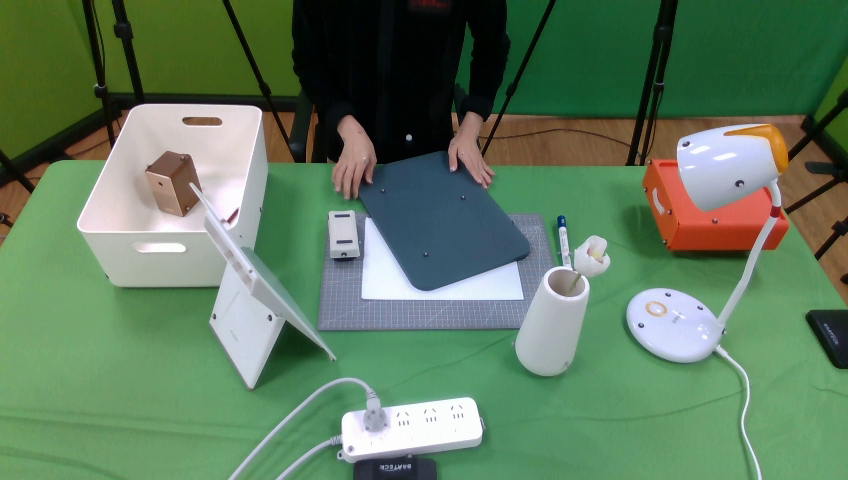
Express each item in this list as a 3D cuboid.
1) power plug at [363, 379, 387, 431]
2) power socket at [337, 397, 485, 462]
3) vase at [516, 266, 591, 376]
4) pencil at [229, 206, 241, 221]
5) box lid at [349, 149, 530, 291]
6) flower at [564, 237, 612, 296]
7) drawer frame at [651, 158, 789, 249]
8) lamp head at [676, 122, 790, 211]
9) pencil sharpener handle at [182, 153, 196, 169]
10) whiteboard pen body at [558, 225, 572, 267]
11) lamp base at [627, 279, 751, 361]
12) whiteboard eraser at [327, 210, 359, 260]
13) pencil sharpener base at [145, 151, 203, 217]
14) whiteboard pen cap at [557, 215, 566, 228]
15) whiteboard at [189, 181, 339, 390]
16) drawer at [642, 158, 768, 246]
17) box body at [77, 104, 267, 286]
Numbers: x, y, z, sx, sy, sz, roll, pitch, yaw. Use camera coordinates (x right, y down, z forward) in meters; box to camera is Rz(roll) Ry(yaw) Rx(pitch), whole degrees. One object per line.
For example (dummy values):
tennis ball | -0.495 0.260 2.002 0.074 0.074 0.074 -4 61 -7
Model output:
power plug | -0.072 0.252 0.910 0.035 0.053 0.072 3 44 -1
power socket | -0.018 0.285 0.915 0.227 0.033 0.071 -5 46 -8
vase | 0.208 0.132 0.964 0.098 0.201 0.097 3 46 -3
pencil | -0.402 -0.008 1.176 0.012 0.012 0.193 14 44 9
box lid | 0.025 -0.056 1.260 0.263 0.015 0.369 -18 50 -20
flower | 0.206 0.088 0.893 0.038 0.363 0.044 -16 67 -9
drawer frame | 0.571 -0.075 1.214 0.214 0.083 0.200 0 46 -1
lamp head | 0.423 -0.104 0.819 0.122 0.113 0.112 -13 33 40
pencil sharpener handle | -0.476 -0.155 1.225 0.036 0.068 0.030 23 48 3
whiteboard pen body | 0.280 0.010 1.207 0.017 0.017 0.140 3 50 -1
lamp base | 0.459 0.100 1.027 0.178 0.181 0.160 27 51 17
whiteboard eraser | -0.158 -0.009 1.177 0.055 0.042 0.112 -6 47 -7
pencil sharpener base | -0.490 -0.112 1.199 0.061 0.107 0.076 15 47 12
whiteboard pen cap | 0.284 -0.034 1.246 0.018 0.018 0.033 4 52 -1
whiteboard | -0.292 0.096 0.929 0.144 0.307 0.216 -37 57 -10
drawer | 0.565 -0.076 1.211 0.212 0.073 0.193 2 45 -2
box body | -0.446 -0.088 1.150 0.254 0.161 0.361 -1 46 -5
